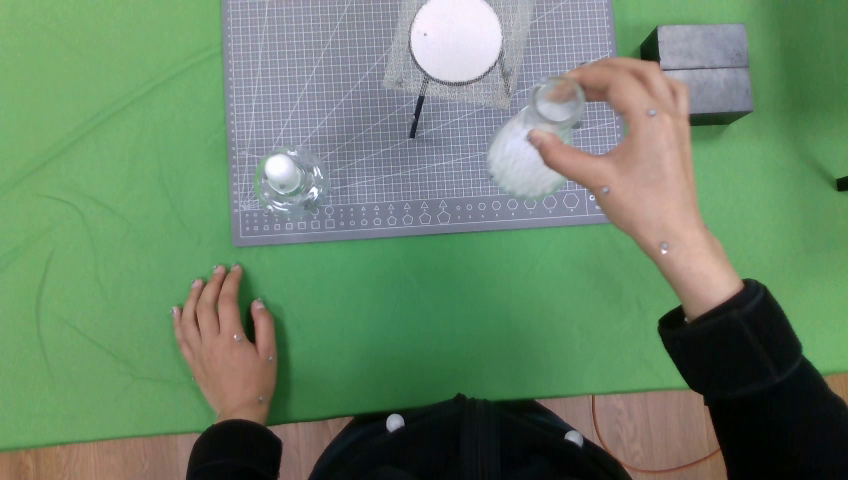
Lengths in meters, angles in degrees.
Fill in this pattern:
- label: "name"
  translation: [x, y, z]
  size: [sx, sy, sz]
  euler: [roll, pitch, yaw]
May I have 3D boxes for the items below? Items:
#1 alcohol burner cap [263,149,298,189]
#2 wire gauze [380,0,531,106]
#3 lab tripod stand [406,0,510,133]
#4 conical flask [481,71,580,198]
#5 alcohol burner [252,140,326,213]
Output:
- label: "alcohol burner cap"
  translation: [-0.141, -0.071, 0.586]
  size: [0.034, 0.048, 0.033]
  euler: [1, 81, -5]
- label: "wire gauze"
  translation: [0.032, -0.193, 0.562]
  size: [0.121, 0.011, 0.125]
  euler: [14, 85, -1]
- label: "lab tripod stand"
  translation: [0.024, -0.188, 0.628]
  size: [0.148, 0.131, 0.148]
  euler: [0, 85, 0]
- label: "conical flask"
  translation: [0.087, -0.083, 0.465]
  size: [0.075, 0.122, 0.075]
  euler: [0, 78, -1]
- label: "alcohol burner"
  translation: [-0.142, -0.068, 0.622]
  size: [0.078, 0.119, 0.078]
  euler: [0, 87, -2]
